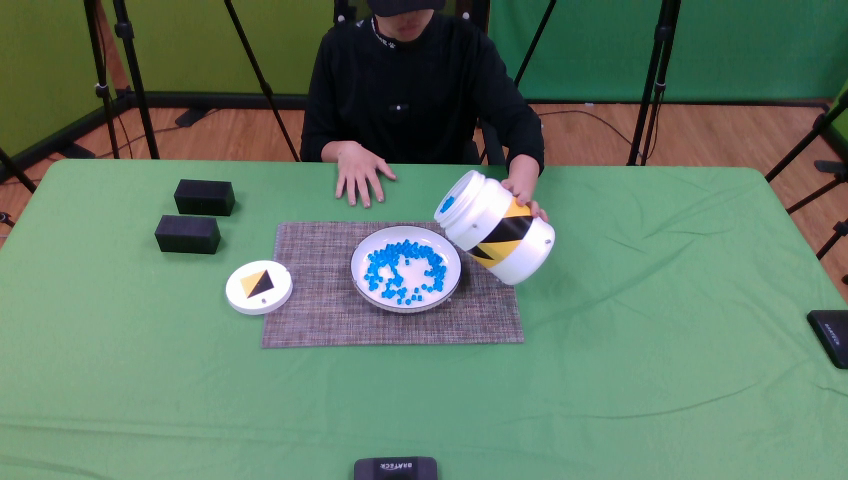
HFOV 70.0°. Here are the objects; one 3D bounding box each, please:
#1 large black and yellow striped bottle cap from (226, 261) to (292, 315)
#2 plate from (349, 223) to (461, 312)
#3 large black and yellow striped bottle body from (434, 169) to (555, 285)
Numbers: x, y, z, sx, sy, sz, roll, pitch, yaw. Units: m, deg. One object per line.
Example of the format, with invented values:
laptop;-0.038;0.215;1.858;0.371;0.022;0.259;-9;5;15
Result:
large black and yellow striped bottle cap;-0.298;0.085;1.092;0.115;0.019;0.114;0;45;1
plate;-0.035;0.054;1.126;0.208;0.039;0.206;2;46;-2
large black and yellow striped bottle body;0.120;-0.024;1.048;0.184;0.131;0.130;39;47;-11
